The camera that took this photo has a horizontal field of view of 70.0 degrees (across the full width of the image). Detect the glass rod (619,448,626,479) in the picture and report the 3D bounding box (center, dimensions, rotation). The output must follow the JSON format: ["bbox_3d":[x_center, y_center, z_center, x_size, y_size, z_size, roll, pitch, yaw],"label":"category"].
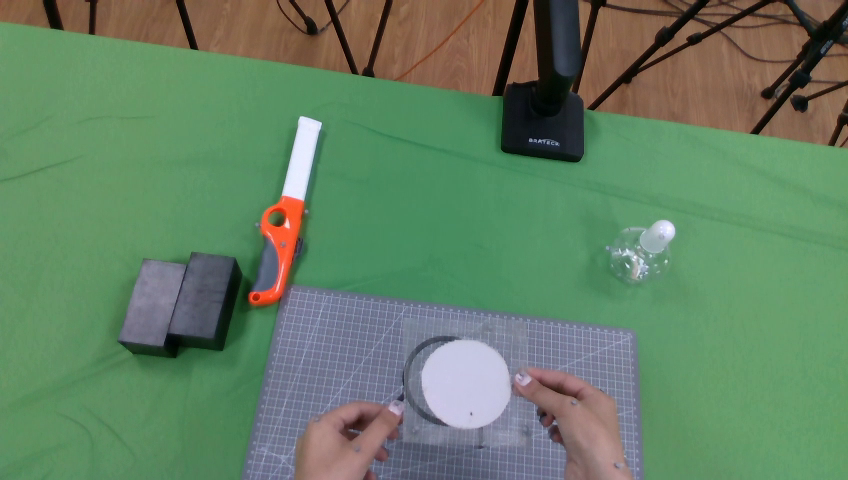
[{"bbox_3d":[0.222,0.332,0.667,0.008,0.008,0.198,7,65,-3],"label":"glass rod"}]

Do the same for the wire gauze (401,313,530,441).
[{"bbox_3d":[0.039,0.129,0.582,0.125,0.011,0.120,3,66,-3],"label":"wire gauze"}]

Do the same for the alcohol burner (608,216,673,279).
[{"bbox_3d":[0.282,0.003,0.771,0.078,0.120,0.077,3,63,-5],"label":"alcohol burner"}]

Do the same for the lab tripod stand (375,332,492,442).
[{"bbox_3d":[0.016,0.157,0.654,0.148,0.132,0.147,2,64,-4],"label":"lab tripod stand"}]

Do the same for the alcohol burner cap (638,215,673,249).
[{"bbox_3d":[0.286,-0.012,0.738,0.034,0.048,0.033,1,69,-2],"label":"alcohol burner cap"}]

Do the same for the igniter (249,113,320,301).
[{"bbox_3d":[-0.177,-0.048,0.788,0.057,0.025,0.274,16,64,-16],"label":"igniter"}]
